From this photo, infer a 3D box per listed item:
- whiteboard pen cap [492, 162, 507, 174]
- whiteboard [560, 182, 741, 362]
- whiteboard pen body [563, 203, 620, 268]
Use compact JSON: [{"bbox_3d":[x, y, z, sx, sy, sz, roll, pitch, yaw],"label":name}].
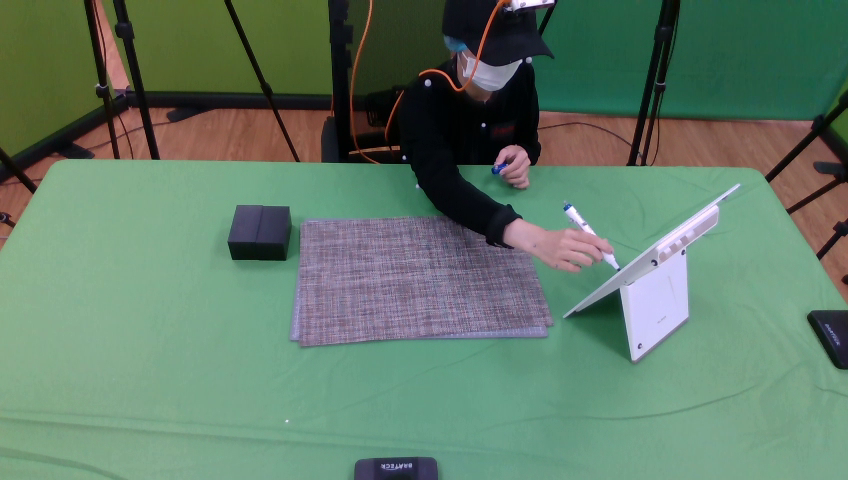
[{"bbox_3d":[0.161,-0.154,1.303,0.033,0.018,0.018,-23,52,-15],"label":"whiteboard pen cap"},{"bbox_3d":[0.406,0.075,1.001,0.217,0.306,0.143,-28,73,-28],"label":"whiteboard"},{"bbox_3d":[0.276,-0.004,0.987,0.141,0.017,0.017,50,56,-1],"label":"whiteboard pen body"}]
